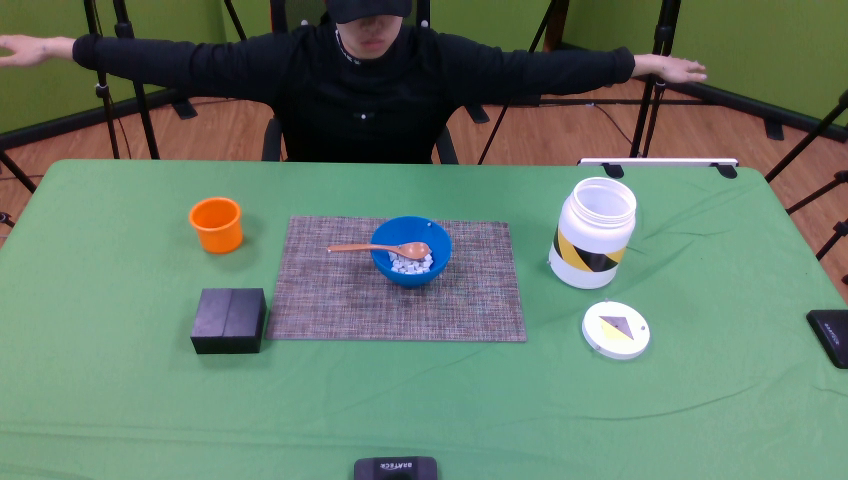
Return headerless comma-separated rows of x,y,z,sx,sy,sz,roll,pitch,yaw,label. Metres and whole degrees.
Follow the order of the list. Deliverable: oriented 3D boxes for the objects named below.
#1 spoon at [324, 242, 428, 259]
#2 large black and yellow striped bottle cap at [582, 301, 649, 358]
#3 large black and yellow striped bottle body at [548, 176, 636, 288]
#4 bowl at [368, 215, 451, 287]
-0.083,0.015,1.085,0.194,0.022,0.041,4,46,-26,spoon
0.340,0.157,1.077,0.115,0.019,0.114,1,47,-1,large black and yellow striped bottle cap
0.310,-0.014,1.123,0.131,0.185,0.130,2,46,-2,large black and yellow striped bottle body
-0.028,0.033,1.119,0.151,0.077,0.150,2,46,-2,bowl
